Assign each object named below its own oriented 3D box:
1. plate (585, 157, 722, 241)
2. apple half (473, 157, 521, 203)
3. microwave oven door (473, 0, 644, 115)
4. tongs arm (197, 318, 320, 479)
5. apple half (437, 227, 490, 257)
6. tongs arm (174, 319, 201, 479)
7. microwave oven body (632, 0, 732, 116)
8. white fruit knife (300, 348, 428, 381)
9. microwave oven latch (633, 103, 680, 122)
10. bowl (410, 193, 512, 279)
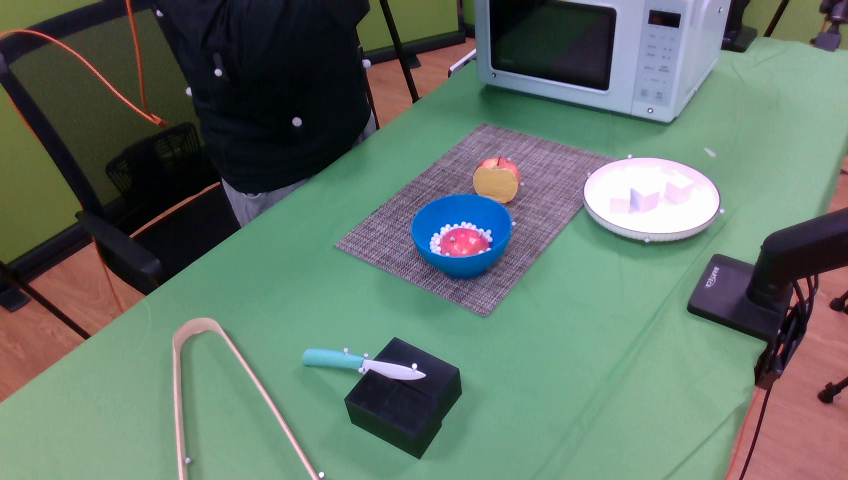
[{"bbox_3d":[0.367,-0.063,0.979,0.207,0.039,0.206,-4,41,4],"label":"plate"},{"bbox_3d":[0.128,-0.107,1.030,0.080,0.075,0.053,4,38,19],"label":"apple half"},{"bbox_3d":[0.257,-0.396,1.199,0.353,0.245,0.039,21,48,29],"label":"microwave oven door"},{"bbox_3d":[-0.200,0.207,0.750,0.028,0.028,0.384,-31,45,-22],"label":"tongs arm"},{"bbox_3d":[0.056,0.002,0.902,0.081,0.033,0.081,-3,42,3],"label":"apple half"},{"bbox_3d":[-0.272,0.234,0.723,0.051,0.026,0.381,-19,40,-15],"label":"tongs arm"},{"bbox_3d":[0.377,-0.463,1.267,0.438,0.261,0.327,21,48,30],"label":"microwave oven body"},{"bbox_3d":[-0.080,0.154,0.748,0.206,0.027,0.016,1,20,35],"label":"white fruit knife"},{"bbox_3d":[0.443,-0.249,1.157,0.078,0.029,0.030,20,48,30],"label":"microwave oven latch"},{"bbox_3d":[0.058,0.005,0.905,0.151,0.077,0.150,-4,40,4],"label":"bowl"}]
